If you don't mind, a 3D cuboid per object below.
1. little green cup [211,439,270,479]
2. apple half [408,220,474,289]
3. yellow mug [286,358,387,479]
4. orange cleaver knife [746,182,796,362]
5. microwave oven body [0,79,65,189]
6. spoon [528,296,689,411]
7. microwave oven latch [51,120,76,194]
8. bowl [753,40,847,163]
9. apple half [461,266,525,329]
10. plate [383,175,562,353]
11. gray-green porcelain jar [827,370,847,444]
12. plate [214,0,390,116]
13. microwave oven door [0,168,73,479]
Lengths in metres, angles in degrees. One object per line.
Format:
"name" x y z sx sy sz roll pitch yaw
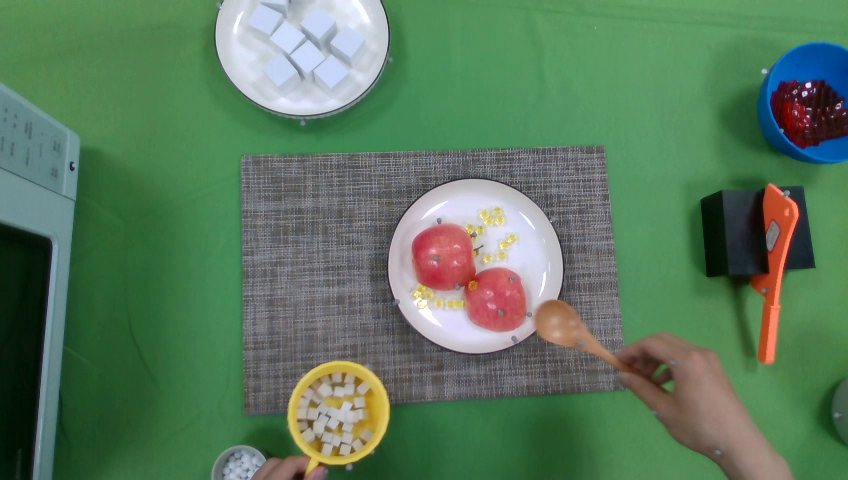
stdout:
"little green cup" -0.199 0.249 0.666 0.061 0.038 0.061 1 84 -5
"apple half" 0.019 0.015 0.696 0.075 0.053 0.080 -4 83 -2
"yellow mug" -0.097 0.190 0.624 0.100 0.064 0.130 25 70 -1
"orange cleaver knife" 0.404 0.039 0.719 0.012 0.077 0.212 -1 105 0
"microwave oven body" -0.554 0.065 0.549 0.326 0.260 0.440 1 82 -5
"spoon" 0.184 0.117 0.598 0.194 0.021 0.041 34 85 -2
"microwave oven latch" -0.411 -0.093 0.680 0.030 0.029 0.079 2 82 -4
"bowl" 0.472 -0.161 0.755 0.151 0.077 0.151 1 82 -4
"apple half" 0.082 0.066 0.703 0.081 0.033 0.081 1 78 -3
"plate" 0.056 0.028 0.713 0.209 0.038 0.208 1 82 -4
"gray-green porcelain jar" 0.540 0.197 0.685 0.106 0.126 0.105 1 81 -4
"plate" -0.146 -0.248 0.741 0.208 0.039 0.207 1 82 -4
"microwave oven door" -0.408 0.109 0.549 0.039 0.244 0.354 0 82 -4
